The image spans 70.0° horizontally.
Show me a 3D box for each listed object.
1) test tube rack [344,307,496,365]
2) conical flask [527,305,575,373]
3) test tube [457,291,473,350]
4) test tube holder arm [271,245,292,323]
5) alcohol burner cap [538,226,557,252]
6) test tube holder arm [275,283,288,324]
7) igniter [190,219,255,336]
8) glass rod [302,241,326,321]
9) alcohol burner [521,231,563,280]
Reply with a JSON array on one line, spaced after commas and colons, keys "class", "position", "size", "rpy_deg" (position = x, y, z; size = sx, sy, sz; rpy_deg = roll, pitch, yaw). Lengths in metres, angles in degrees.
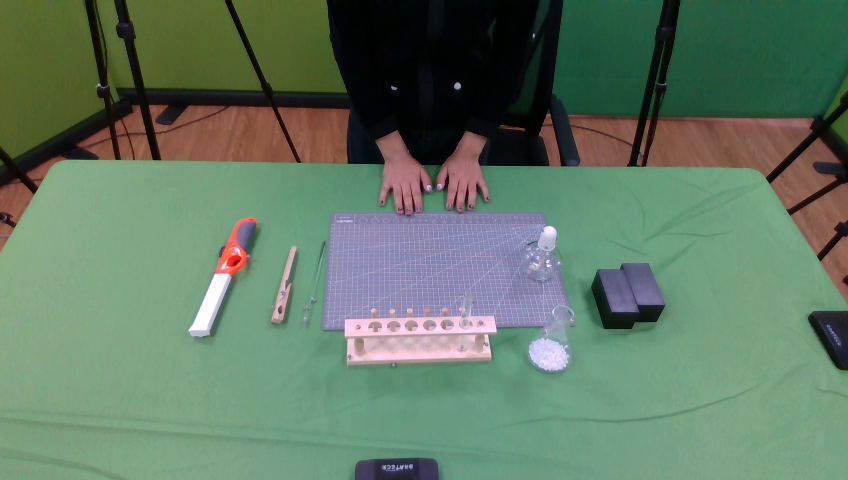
[{"class": "test tube rack", "position": [-0.009, 0.154, 1.007], "size": [0.242, 0.085, 0.066], "rpy_deg": [-1, 46, -5]}, {"class": "conical flask", "position": [0.215, 0.157, 0.996], "size": [0.075, 0.122, 0.075], "rpy_deg": [2, 46, -2]}, {"class": "test tube", "position": [0.064, 0.132, 0.965], "size": [0.017, 0.151, 0.017], "rpy_deg": [1, 48, -1]}, {"class": "test tube holder arm", "position": [-0.259, 0.076, 1.106], "size": [0.013, 0.015, 0.177], "rpy_deg": [29, 38, -29]}, {"class": "alcohol burner cap", "position": [0.226, -0.004, 1.104], "size": [0.034, 0.048, 0.033], "rpy_deg": [-1, 50, 1]}, {"class": "test tube holder arm", "position": [-0.254, 0.110, 1.077], "size": [0.010, 0.015, 0.087], "rpy_deg": [30, 37, -28]}, {"class": "igniter", "position": [-0.365, 0.058, 1.110], "size": [0.057, 0.025, 0.275], "rpy_deg": [-1, 45, 8]}, {"class": "glass rod", "position": [-0.203, 0.071, 1.124], "size": [0.008, 0.008, 0.198], "rpy_deg": [5, 44, 1]}, {"class": "alcohol burner", "position": [0.224, 0.020, 1.131], "size": [0.078, 0.119, 0.077], "rpy_deg": [4, 46, -4]}]
